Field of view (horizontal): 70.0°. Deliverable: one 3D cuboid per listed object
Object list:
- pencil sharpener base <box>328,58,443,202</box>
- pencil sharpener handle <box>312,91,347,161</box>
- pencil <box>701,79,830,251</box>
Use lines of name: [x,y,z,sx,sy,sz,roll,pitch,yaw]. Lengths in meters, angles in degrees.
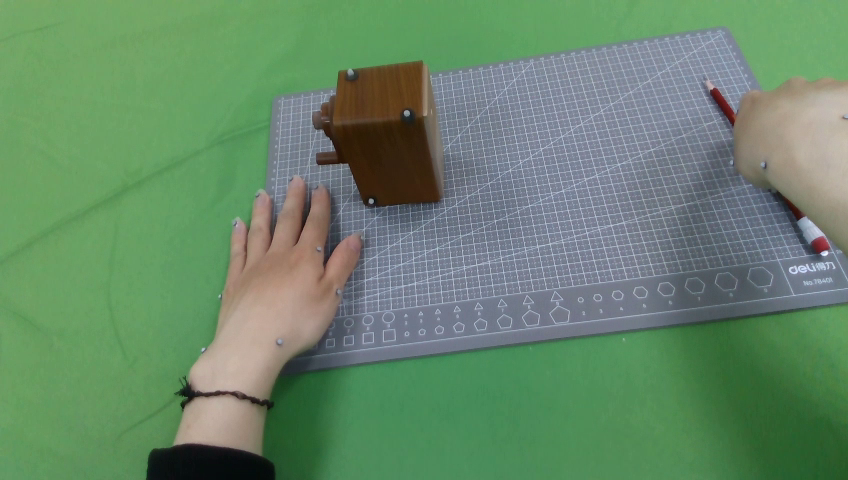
pencil sharpener base: [-0.028,-0.084,0.490,0.076,0.108,0.061,-4,57,7]
pencil sharpener handle: [-0.081,-0.087,0.485,0.030,0.068,0.035,-4,57,7]
pencil: [0.271,-0.070,0.493,0.012,0.012,0.192,-15,55,0]
